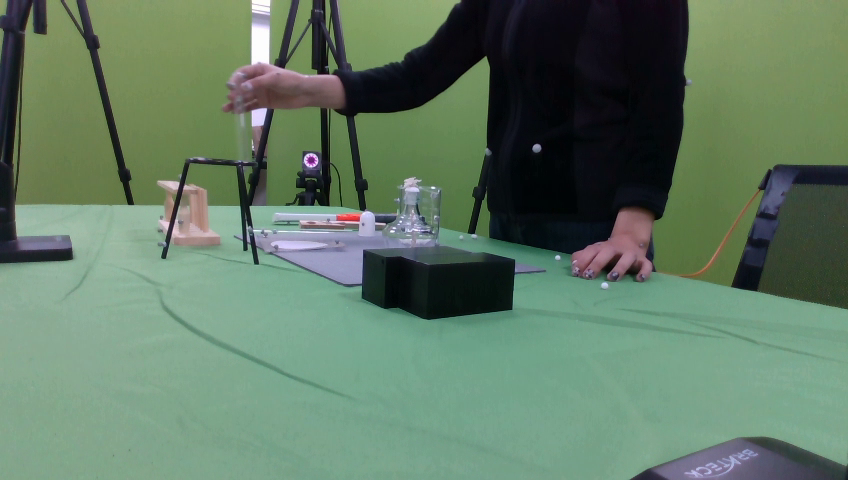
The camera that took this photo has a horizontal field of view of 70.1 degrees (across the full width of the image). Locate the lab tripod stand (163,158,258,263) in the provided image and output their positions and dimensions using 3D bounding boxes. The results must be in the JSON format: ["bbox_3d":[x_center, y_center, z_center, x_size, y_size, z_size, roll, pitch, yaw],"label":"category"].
[{"bbox_3d":[-0.265,-0.041,0.802,0.148,0.131,0.148,4,7,0],"label":"lab tripod stand"}]

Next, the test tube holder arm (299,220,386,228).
[{"bbox_3d":[-0.158,-0.032,1.195,0.179,0.015,0.013,-1,42,-28],"label":"test tube holder arm"}]

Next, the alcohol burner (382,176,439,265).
[{"bbox_3d":[-0.018,-0.027,0.818,0.078,0.119,0.078,3,9,0],"label":"alcohol burner"}]

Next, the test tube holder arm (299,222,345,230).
[{"bbox_3d":[-0.196,-0.027,1.170,0.088,0.015,0.010,-1,42,-28],"label":"test tube holder arm"}]

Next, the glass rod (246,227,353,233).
[{"bbox_3d":[-0.224,-0.017,1.109,0.201,0.008,0.008,1,7,-27],"label":"glass rod"}]

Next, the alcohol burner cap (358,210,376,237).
[{"bbox_3d":[-0.104,-0.030,1.098,0.034,0.048,0.034,2,7,0],"label":"alcohol burner cap"}]

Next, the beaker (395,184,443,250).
[{"bbox_3d":[-0.007,-0.037,0.964,0.074,0.100,0.083,-4,11,-40],"label":"beaker"}]

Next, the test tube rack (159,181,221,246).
[{"bbox_3d":[-0.395,-0.050,1.010,0.067,0.085,0.241,-2,8,-28],"label":"test tube rack"}]

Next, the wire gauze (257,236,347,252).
[{"bbox_3d":[-0.189,0.005,0.931,0.122,0.011,0.124,1,7,-21],"label":"wire gauze"}]

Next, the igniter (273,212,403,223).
[{"bbox_3d":[-0.179,-0.048,1.290,0.278,0.025,0.057,-1,-2,-24],"label":"igniter"}]

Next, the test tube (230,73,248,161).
[{"bbox_3d":[-0.298,-0.193,0.976,0.017,0.150,0.017,-3,5,1],"label":"test tube"}]
